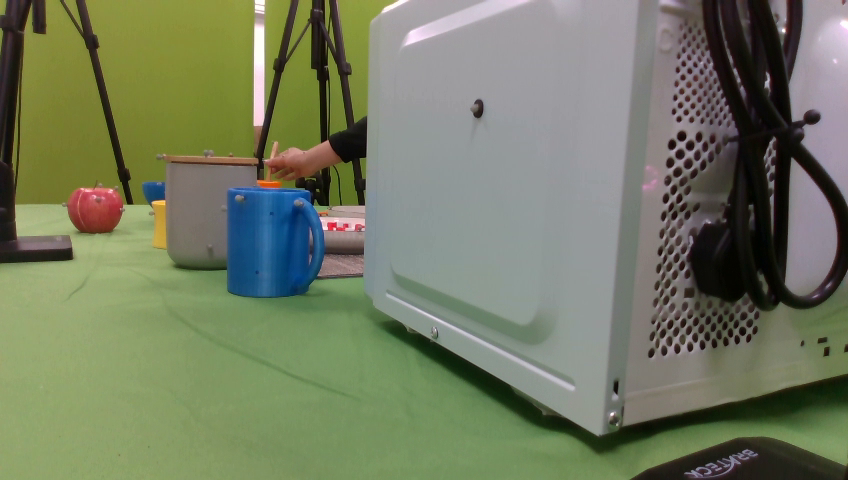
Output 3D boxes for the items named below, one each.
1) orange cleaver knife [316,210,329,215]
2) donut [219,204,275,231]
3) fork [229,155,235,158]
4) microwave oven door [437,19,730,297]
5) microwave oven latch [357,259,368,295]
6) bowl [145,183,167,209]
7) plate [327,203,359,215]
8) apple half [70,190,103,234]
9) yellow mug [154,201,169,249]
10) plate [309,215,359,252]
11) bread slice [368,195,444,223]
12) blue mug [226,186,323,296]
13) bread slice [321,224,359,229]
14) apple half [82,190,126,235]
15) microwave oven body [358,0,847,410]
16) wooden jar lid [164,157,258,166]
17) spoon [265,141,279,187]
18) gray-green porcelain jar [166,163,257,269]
[{"bbox_3d":[-0.259,-0.064,1.423,0.212,0.012,0.077,-4,3,-30],"label":"orange cleaver knife"},{"bbox_3d":[-0.316,-0.039,1.083,0.099,0.048,0.099,2,7,0],"label":"donut"},{"bbox_3d":[-0.459,-0.134,1.415,0.028,0.018,0.207,-1,-34,-24],"label":"fork"},{"bbox_3d":[0.180,-0.076,0.618,0.358,0.243,0.039,-2,9,-28],"label":"microwave oven door"},{"bbox_3d":[-0.019,0.031,0.529,0.079,0.029,0.030,-1,7,-26],"label":"microwave oven latch"},{"bbox_3d":[-0.459,-0.068,1.175,0.151,0.077,0.151,3,7,0],"label":"bowl"},{"bbox_3d":[-0.102,-0.053,1.299,0.209,0.038,0.209,2,8,0],"label":"plate"},{"bbox_3d":[-0.552,-0.047,1.009,0.053,0.074,0.081,0,9,26],"label":"apple half"},{"bbox_3d":[-0.338,-0.022,0.899,0.130,0.064,0.100,8,9,34],"label":"yellow mug"},{"bbox_3d":[-0.130,-0.011,0.945,0.208,0.039,0.207,2,8,0],"label":"plate"},{"bbox_3d":[-0.041,-0.057,1.141,0.107,0.018,0.133,-9,-8,-39],"label":"bread slice"},{"bbox_3d":[-0.148,0.000,0.618,0.116,0.106,0.083,7,9,33],"label":"blue mug"},{"bbox_3d":[-0.125,-0.010,0.938,0.131,0.019,0.105,7,9,31],"label":"bread slice"},{"bbox_3d":[-0.517,-0.046,0.994,0.032,0.081,0.081,0,6,26],"label":"apple half"},{"bbox_3d":[0.210,-0.051,0.471,0.444,0.260,0.324,-1,7,-28],"label":"microwave oven body"},{"bbox_3d":[-0.261,-0.093,0.746,0.108,0.020,0.108,1,9,0],"label":"wooden jar lid"},{"bbox_3d":[-0.391,-0.176,1.555,0.041,0.193,0.022,0,-23,8],"label":"spoon"},{"bbox_3d":[-0.263,-0.031,0.754,0.106,0.126,0.106,2,7,0],"label":"gray-green porcelain jar"}]
